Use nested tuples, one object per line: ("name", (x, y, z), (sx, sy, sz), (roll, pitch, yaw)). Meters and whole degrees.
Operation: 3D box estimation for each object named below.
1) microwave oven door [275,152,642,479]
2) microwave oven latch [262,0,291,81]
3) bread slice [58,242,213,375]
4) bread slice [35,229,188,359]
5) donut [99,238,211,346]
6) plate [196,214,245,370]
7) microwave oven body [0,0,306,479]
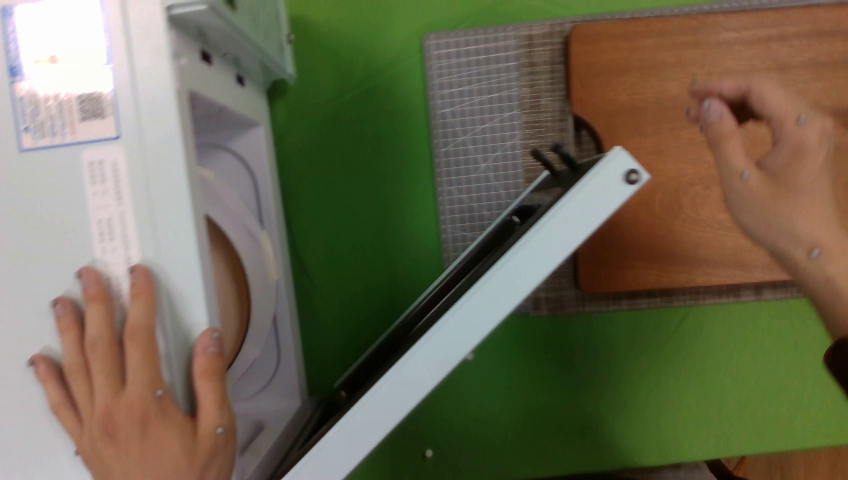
("microwave oven door", (0.012, 0.068, 0.513), (0.039, 0.243, 0.356), (43, 94, -1))
("microwave oven latch", (-0.153, -0.200, 0.598), (0.030, 0.029, 0.079), (-8, 94, 1))
("bread slice", (-0.278, 0.061, 0.572), (0.131, 0.019, 0.105), (17, 94, 0))
("bread slice", (-0.264, 0.050, 0.510), (0.134, 0.018, 0.107), (-6, 96, 12))
("donut", (-0.243, 0.047, 0.549), (0.099, 0.048, 0.099), (0, 90, 0))
("plate", (-0.271, 0.059, 0.571), (0.208, 0.039, 0.207), (0, 94, -3))
("microwave oven body", (-0.279, 0.000, 0.518), (0.326, 0.260, 0.442), (-8, 94, 1))
